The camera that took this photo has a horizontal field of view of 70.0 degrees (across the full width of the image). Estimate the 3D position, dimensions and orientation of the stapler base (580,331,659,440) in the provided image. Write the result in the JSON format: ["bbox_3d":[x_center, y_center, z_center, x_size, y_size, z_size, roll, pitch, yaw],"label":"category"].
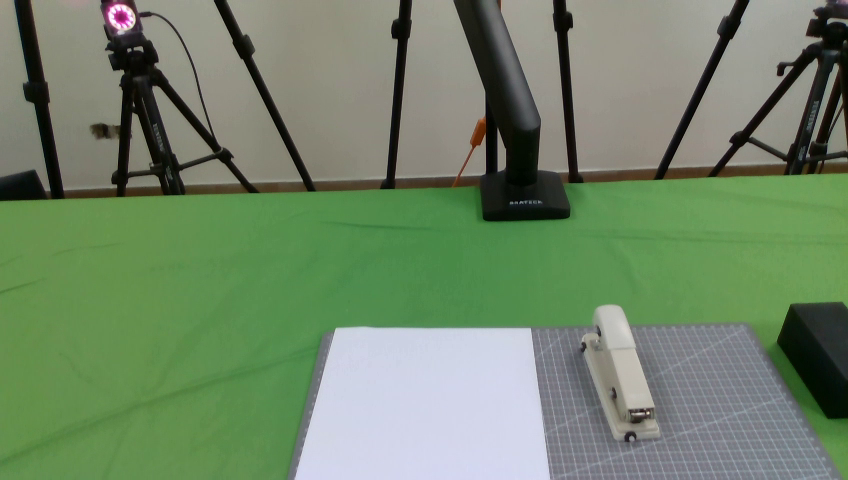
[{"bbox_3d":[0.181,0.127,0.569,0.041,0.024,0.129,-5,36,1],"label":"stapler base"}]

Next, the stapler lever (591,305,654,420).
[{"bbox_3d":[0.180,0.107,0.553,0.027,0.040,0.117,-6,36,1],"label":"stapler lever"}]
